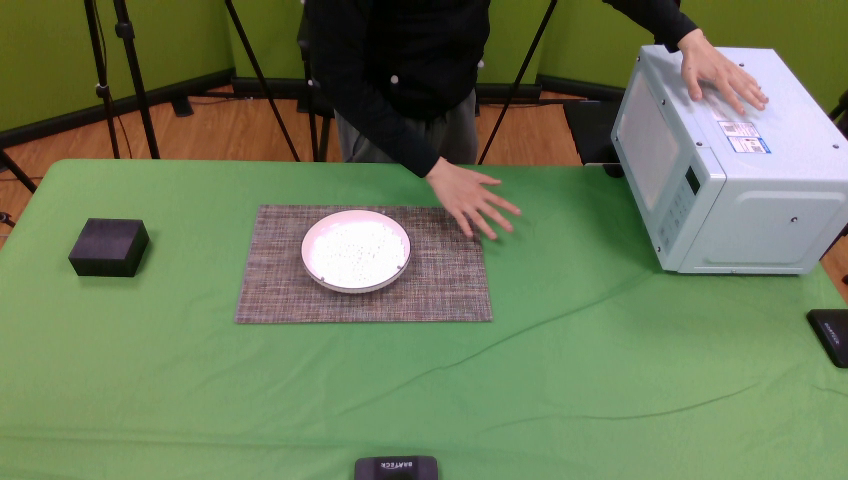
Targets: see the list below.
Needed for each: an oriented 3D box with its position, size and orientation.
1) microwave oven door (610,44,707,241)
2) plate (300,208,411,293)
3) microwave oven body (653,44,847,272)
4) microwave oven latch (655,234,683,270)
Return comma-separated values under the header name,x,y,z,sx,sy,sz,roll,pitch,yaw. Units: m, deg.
name,x,y,z,sx,sy,sz,roll,pitch,yaw
microwave oven door,0.474,-0.208,1.250,0.039,0.245,0.353,0,47,-3
plate,-0.129,0.022,1.149,0.209,0.038,0.208,2,47,-2
microwave oven body,0.620,-0.172,1.234,0.326,0.261,0.439,0,46,-3
microwave oven latch,0.473,0.021,1.175,0.030,0.029,0.078,2,46,-1
